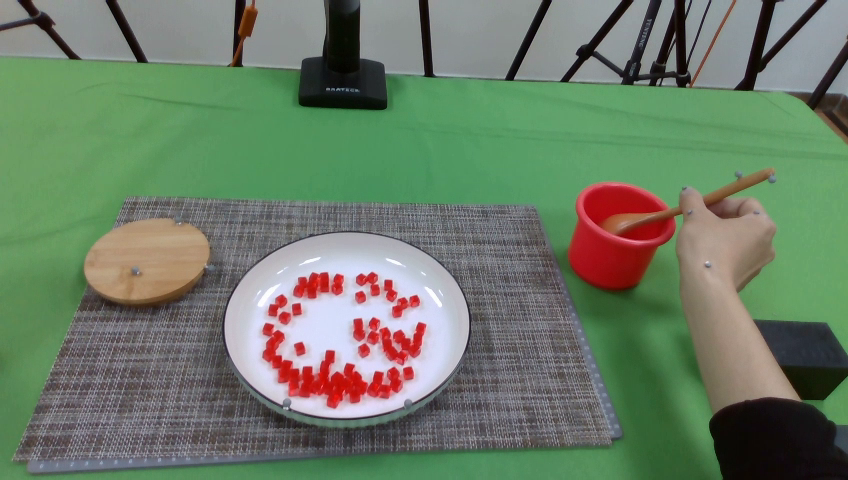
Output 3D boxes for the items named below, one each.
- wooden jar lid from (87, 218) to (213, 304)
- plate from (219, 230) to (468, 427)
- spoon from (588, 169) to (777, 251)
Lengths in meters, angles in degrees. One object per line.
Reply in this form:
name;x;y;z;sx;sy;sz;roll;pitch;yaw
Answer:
wooden jar lid;-0.254;0.020;0.568;0.108;0.021;0.107;5;42;-4
plate;-0.067;0.074;0.527;0.208;0.039;0.205;5;43;-4
spoon;0.243;-0.028;0.594;0.022;0.193;0.041;52;42;-19
